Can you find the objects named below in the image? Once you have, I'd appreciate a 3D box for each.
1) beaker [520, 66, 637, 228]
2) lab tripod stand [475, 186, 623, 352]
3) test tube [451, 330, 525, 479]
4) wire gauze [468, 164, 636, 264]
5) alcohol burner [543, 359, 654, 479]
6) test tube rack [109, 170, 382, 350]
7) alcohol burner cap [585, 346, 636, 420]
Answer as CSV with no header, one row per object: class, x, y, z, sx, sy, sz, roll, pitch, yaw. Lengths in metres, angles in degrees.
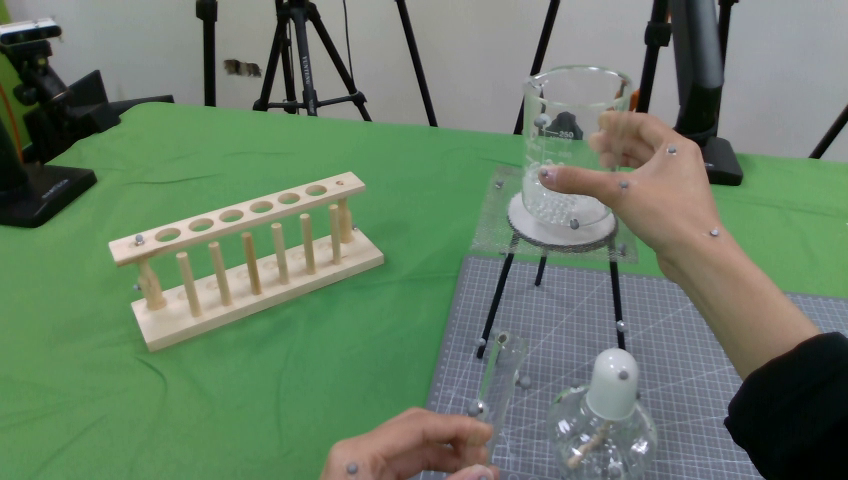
beaker,0.105,-0.067,0.442,0.074,0.101,0.083,-25,40,-27
lab tripod stand,0.115,0.032,0.528,0.148,0.132,0.147,2,35,-1
test tube,0.025,0.111,0.311,0.017,0.151,0.017,10,25,-4
wire gauze,0.106,-0.023,0.488,0.121,0.011,0.124,9,37,10
alcohol burner,0.124,0.121,0.422,0.078,0.120,0.077,0,38,0
test tube rack,-0.164,0.013,0.600,0.243,0.086,0.066,-21,41,-26
alcohol burner cap,0.125,0.092,0.401,0.034,0.048,0.033,-2,35,2
